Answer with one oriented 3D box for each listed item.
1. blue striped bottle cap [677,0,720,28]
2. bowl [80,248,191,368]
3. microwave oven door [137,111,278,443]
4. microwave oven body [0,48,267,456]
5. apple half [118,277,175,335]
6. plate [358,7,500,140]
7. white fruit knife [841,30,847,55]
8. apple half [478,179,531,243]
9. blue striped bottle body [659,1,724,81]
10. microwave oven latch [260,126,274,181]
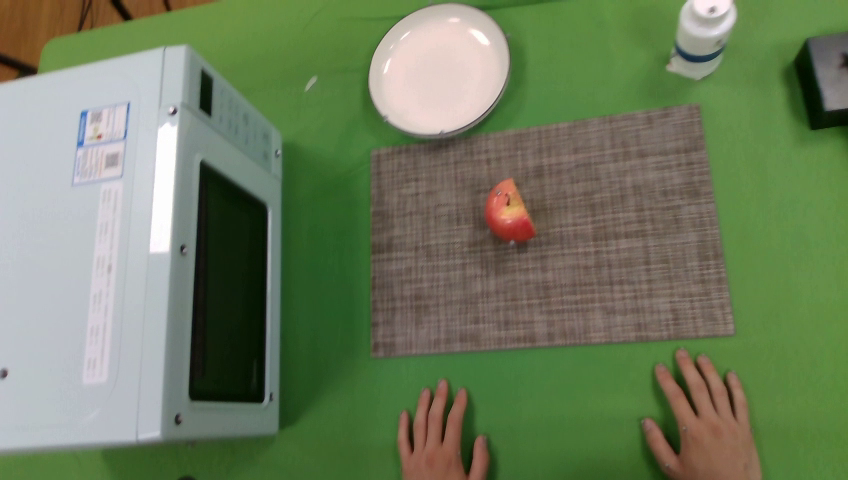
[{"bbox_3d":[0.322,-0.271,0.710,0.044,0.021,0.044,-3,77,13],"label":"blue striped bottle cap"},{"bbox_3d":[-0.365,0.090,0.801,0.151,0.077,0.151,-2,84,18],"label":"bowl"},{"bbox_3d":[-0.249,0.057,0.734,0.039,0.245,0.353,-8,73,12],"label":"microwave oven door"},{"bbox_3d":[-0.392,0.037,0.781,0.325,0.262,0.439,-8,74,11],"label":"microwave oven body"},{"bbox_3d":[-0.368,0.087,0.791,0.081,0.033,0.081,0,88,7],"label":"apple half"},{"bbox_3d":[0.008,-0.236,0.878,0.207,0.039,0.206,-3,75,13],"label":"plate"},{"bbox_3d":[0.512,-0.143,0.700,0.016,0.027,0.207,-16,88,28],"label":"white fruit knife"},{"bbox_3d":[0.098,-0.031,0.777,0.053,0.075,0.080,-26,74,10],"label":"apple half"},{"bbox_3d":[0.334,-0.257,0.757,0.063,0.122,0.062,-4,74,13],"label":"blue striped bottle body"},{"bbox_3d":[-0.237,-0.125,0.889,0.030,0.030,0.078,-8,74,11],"label":"microwave oven latch"}]
